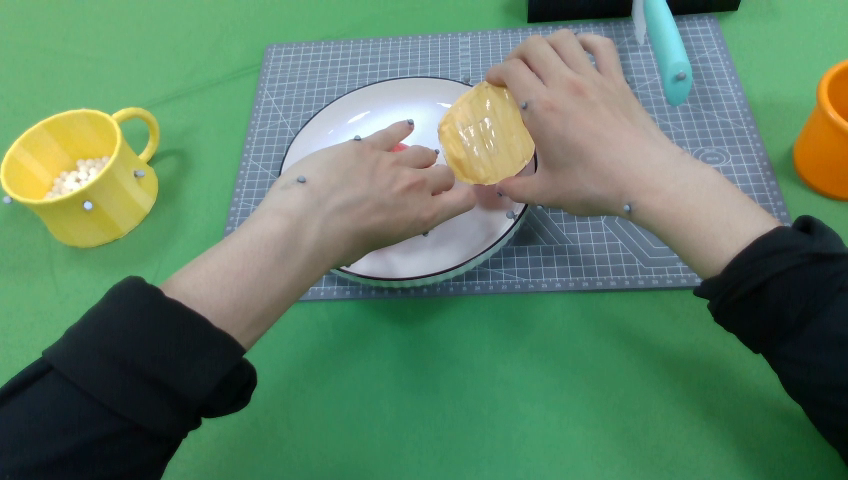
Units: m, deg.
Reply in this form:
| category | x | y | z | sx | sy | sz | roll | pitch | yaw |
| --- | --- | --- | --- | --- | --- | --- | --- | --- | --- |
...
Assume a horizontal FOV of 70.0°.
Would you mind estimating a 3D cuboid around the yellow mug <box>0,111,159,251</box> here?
| category | x | y | z | sx | sy | sz | roll | pitch | yaw |
| --- | --- | --- | --- | --- | --- | --- | --- | --- | --- |
| yellow mug | -0.282 | -0.061 | 0.519 | 0.099 | 0.064 | 0.130 | 29 | 64 | 22 |

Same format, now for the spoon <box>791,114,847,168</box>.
| category | x | y | z | sx | sy | sz | roll | pitch | yaw |
| --- | --- | --- | --- | --- | --- | --- | --- | --- | --- |
| spoon | 0.362 | -0.110 | 0.430 | 0.022 | 0.194 | 0.041 | 24 | 46 | -30 |

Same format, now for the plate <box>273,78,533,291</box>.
| category | x | y | z | sx | sy | sz | roll | pitch | yaw |
| --- | --- | --- | --- | --- | --- | --- | --- | --- | --- |
| plate | -0.017 | -0.047 | 0.494 | 0.209 | 0.038 | 0.207 | -3 | 58 | 5 |

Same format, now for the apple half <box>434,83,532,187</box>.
| category | x | y | z | sx | sy | sz | roll | pitch | yaw |
| --- | --- | --- | --- | --- | --- | --- | --- | --- | --- |
| apple half | 0.048 | -0.080 | 0.474 | 0.081 | 0.033 | 0.081 | 3 | 98 | 27 |

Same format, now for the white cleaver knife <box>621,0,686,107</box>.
| category | x | y | z | sx | sy | sz | roll | pitch | yaw |
| --- | --- | --- | --- | --- | --- | --- | --- | --- | --- |
| white cleaver knife | 0.201 | -0.222 | 0.564 | 0.021 | 0.066 | 0.283 | -5 | 53 | 9 |

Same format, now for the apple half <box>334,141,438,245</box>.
| category | x | y | z | sx | sy | sz | roll | pitch | yaw |
| --- | --- | --- | --- | --- | --- | --- | --- | --- | --- |
| apple half | -0.034 | -0.045 | 0.474 | 0.081 | 0.054 | 0.074 | -29 | 58 | -7 |
